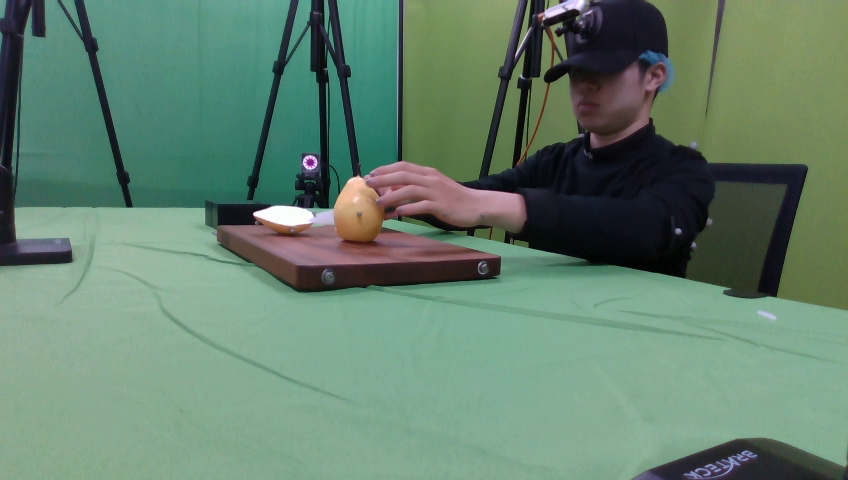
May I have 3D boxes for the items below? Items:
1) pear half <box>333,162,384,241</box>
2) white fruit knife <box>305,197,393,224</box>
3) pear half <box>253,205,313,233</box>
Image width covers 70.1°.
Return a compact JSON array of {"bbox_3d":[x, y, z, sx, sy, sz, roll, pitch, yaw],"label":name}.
[{"bbox_3d":[-0.084,-0.053,0.842,0.056,0.110,0.076,6,12,28],"label":"pear half"},{"bbox_3d":[-0.116,-0.047,0.965,0.016,0.027,0.208,-11,4,34],"label":"white fruit knife"},{"bbox_3d":[-0.209,-0.027,0.900,0.088,0.031,0.070,-4,21,-19],"label":"pear half"}]
